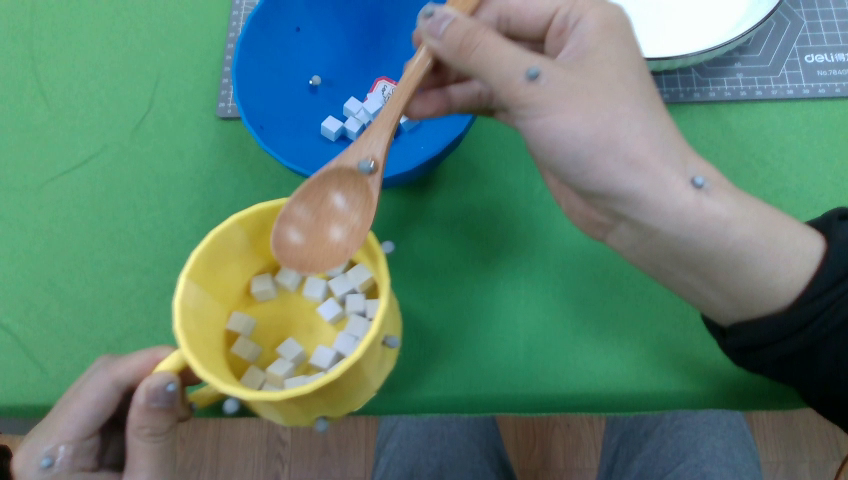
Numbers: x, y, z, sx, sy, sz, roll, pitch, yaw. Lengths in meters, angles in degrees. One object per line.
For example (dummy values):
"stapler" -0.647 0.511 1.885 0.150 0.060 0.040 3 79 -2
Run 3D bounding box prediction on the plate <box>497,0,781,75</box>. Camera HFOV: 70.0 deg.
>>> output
"plate" 0.145 -0.200 0.425 0.209 0.038 0.207 -1 70 4

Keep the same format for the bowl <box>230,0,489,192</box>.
"bowl" -0.034 -0.090 0.382 0.151 0.077 0.150 -1 75 5

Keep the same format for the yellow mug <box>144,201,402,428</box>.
"yellow mug" -0.077 0.047 0.302 0.131 0.064 0.099 -34 67 -12

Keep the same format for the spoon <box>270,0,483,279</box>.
"spoon" -0.005 -0.066 0.264 0.041 0.022 0.194 34 93 16
